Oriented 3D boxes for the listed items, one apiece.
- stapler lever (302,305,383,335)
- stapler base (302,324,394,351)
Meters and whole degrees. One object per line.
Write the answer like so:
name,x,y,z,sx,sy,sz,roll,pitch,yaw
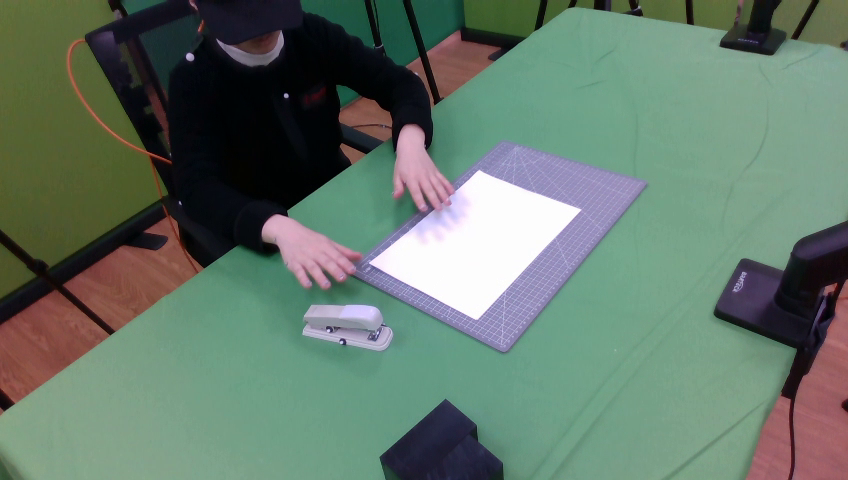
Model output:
stapler lever,-0.113,0.105,0.829,0.117,0.040,0.027,7,41,18
stapler base,-0.108,0.123,0.844,0.130,0.024,0.041,7,40,18
